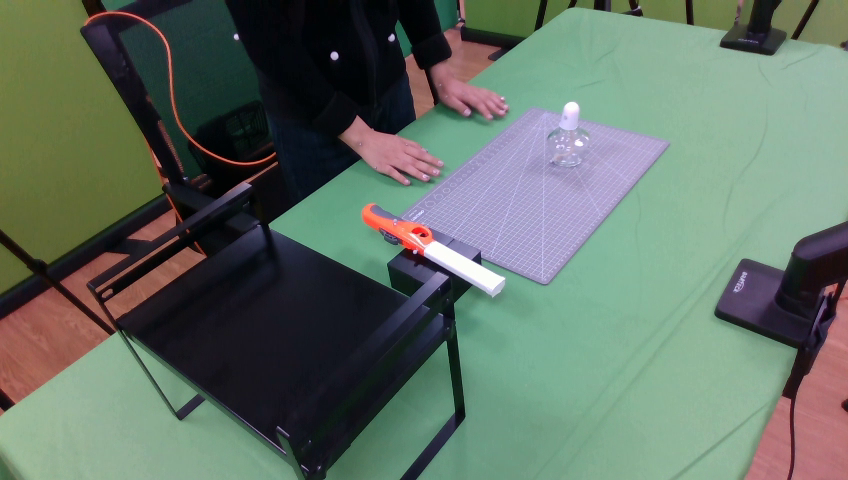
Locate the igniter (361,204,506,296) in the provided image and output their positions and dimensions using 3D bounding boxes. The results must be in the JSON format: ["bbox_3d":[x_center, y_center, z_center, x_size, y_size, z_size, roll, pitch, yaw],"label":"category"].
[{"bbox_3d":[0.003,0.008,0.889,0.274,0.025,0.057,29,49,33],"label":"igniter"}]

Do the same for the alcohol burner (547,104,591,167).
[{"bbox_3d":[0.261,-0.192,1.087,0.078,0.119,0.077,-5,42,5],"label":"alcohol burner"}]

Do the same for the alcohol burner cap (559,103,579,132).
[{"bbox_3d":[0.256,-0.218,1.063,0.034,0.048,0.033,0,43,0],"label":"alcohol burner cap"}]
